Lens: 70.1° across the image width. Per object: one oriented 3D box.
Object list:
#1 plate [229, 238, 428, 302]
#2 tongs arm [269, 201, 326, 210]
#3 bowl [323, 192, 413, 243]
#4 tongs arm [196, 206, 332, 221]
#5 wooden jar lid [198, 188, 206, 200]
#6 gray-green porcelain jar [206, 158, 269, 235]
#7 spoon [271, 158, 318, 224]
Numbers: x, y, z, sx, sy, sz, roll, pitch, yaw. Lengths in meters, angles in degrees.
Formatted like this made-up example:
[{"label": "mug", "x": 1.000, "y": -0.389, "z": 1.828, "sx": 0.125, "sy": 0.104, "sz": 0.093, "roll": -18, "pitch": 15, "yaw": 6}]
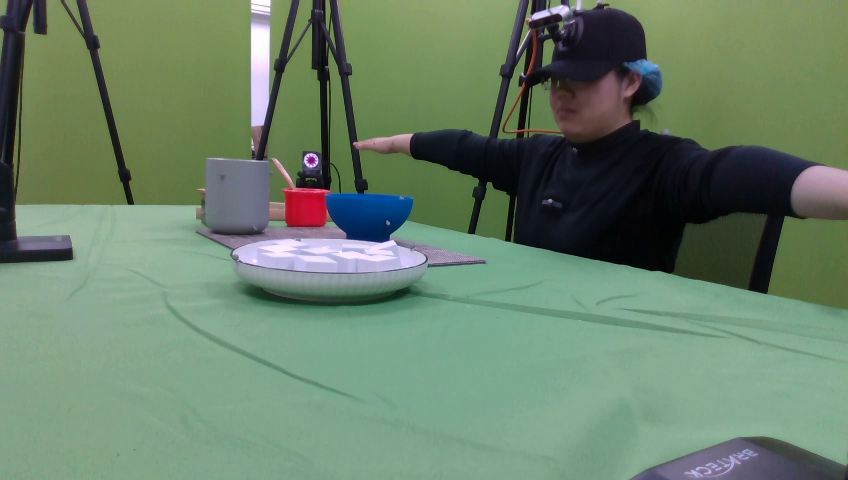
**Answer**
[{"label": "plate", "x": -0.099, "y": 0.032, "z": 0.651, "sx": 0.209, "sy": 0.038, "sz": 0.209, "roll": 3, "pitch": 8, "yaw": 0}, {"label": "tongs arm", "x": -0.308, "y": -0.073, "z": 1.410, "sx": 0.386, "sy": 0.026, "sz": 0.050, "roll": 3, "pitch": 8, "yaw": -6}, {"label": "bowl", "x": -0.094, "y": -0.037, "z": 1.015, "sx": 0.151, "sy": 0.077, "sz": 0.151, "roll": 3, "pitch": 7, "yaw": 0}, {"label": "tongs arm", "x": -0.294, "y": -0.058, "z": 1.330, "sx": 0.389, "sy": 0.028, "sz": 0.028, "roll": 0, "pitch": 5, "yaw": -20}, {"label": "wooden jar lid", "x": -0.382, "y": -0.088, "z": 1.175, "sx": 0.108, "sy": 0.020, "sz": 0.108, "roll": 3, "pitch": 8, "yaw": 0}, {"label": "gray-green porcelain jar", "x": -0.322, "y": -0.076, "z": 1.048, "sx": 0.106, "sy": 0.126, "sz": 0.106, "roll": 3, "pitch": 7, "yaw": 0}, {"label": "spoon", "x": -0.268, "y": -0.103, "z": 1.236, "sx": 0.042, "sy": 0.021, "sz": 0.193, "roll": -9, "pitch": 58, "yaw": -40}]
